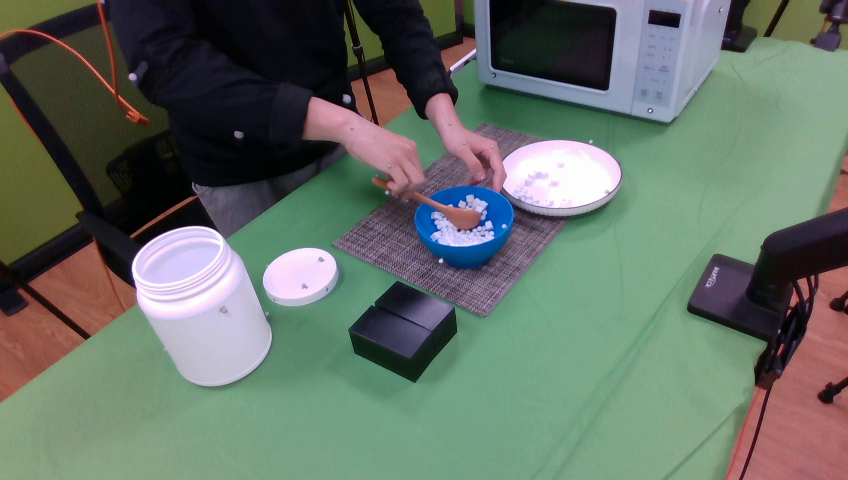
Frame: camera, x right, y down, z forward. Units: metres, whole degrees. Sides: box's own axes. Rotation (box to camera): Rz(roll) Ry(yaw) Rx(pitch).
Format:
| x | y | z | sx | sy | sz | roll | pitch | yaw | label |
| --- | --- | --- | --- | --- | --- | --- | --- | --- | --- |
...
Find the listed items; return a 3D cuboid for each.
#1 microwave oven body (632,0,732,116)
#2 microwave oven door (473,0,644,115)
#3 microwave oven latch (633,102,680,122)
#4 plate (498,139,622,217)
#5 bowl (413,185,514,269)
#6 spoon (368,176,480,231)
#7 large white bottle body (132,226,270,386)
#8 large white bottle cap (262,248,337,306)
| x | y | z | sx | sy | sz | roll | pitch | yaw | label |
| --- | --- | --- | --- | --- | --- | --- | --- | --- | --- |
| 0.377 | -0.463 | 1.267 | 0.438 | 0.261 | 0.327 | 21 | 49 | 30 | microwave oven body |
| 0.257 | -0.396 | 1.199 | 0.353 | 0.245 | 0.039 | 21 | 48 | 29 | microwave oven door |
| 0.443 | -0.249 | 1.157 | 0.078 | 0.029 | 0.030 | 21 | 49 | 30 | microwave oven latch |
| 0.231 | -0.103 | 1.038 | 0.209 | 0.038 | 0.208 | -4 | 41 | 4 | plate |
| 0.062 | -0.010 | 0.921 | 0.151 | 0.077 | 0.150 | -4 | 40 | 4 | bowl |
| 0.002 | -0.056 | 0.903 | 0.195 | 0.041 | 0.021 | 23 | 34 | -23 | spoon |
| -0.286 | 0.085 | 0.783 | 0.130 | 0.185 | 0.130 | -4 | 41 | 4 | large white bottle body |
| -0.193 | 0.056 | 0.934 | 0.115 | 0.018 | 0.114 | -4 | 41 | 4 | large white bottle cap |
